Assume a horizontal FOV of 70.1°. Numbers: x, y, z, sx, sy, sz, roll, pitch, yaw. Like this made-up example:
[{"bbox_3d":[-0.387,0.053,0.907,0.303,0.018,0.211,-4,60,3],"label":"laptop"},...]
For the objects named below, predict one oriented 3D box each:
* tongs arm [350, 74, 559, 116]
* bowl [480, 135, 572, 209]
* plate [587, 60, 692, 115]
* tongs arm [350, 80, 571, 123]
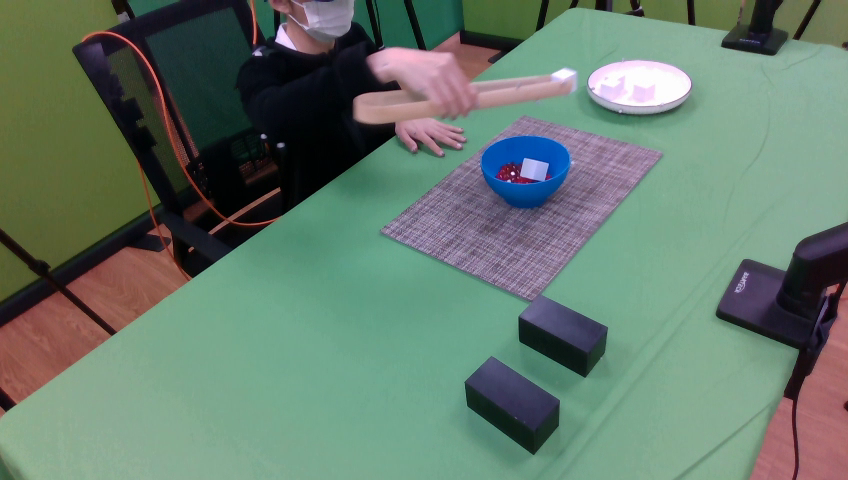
[{"bbox_3d":[0.060,-0.235,0.963,0.390,0.028,0.028,-13,42,-24],"label":"tongs arm"},{"bbox_3d":[0.172,-0.107,1.025,0.151,0.077,0.150,-4,40,4],"label":"bowl"},{"bbox_3d":[0.445,-0.313,1.263,0.209,0.038,0.208,-5,40,4],"label":"plate"},{"bbox_3d":[0.070,-0.223,0.947,0.387,0.026,0.050,-16,40,-28],"label":"tongs arm"}]
